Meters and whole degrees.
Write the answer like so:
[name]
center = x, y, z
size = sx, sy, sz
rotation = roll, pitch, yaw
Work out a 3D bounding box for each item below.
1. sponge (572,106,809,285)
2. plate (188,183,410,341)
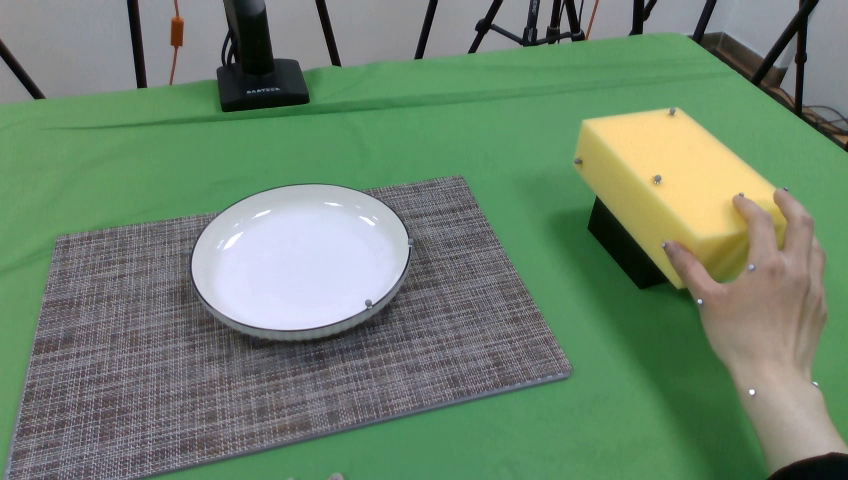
[sponge]
center = 0.252, -0.054, 0.606
size = 0.118, 0.061, 0.204
rotation = -10, 42, -14
[plate]
center = -0.118, 0.020, 0.593
size = 0.208, 0.039, 0.205
rotation = 2, 42, -1
